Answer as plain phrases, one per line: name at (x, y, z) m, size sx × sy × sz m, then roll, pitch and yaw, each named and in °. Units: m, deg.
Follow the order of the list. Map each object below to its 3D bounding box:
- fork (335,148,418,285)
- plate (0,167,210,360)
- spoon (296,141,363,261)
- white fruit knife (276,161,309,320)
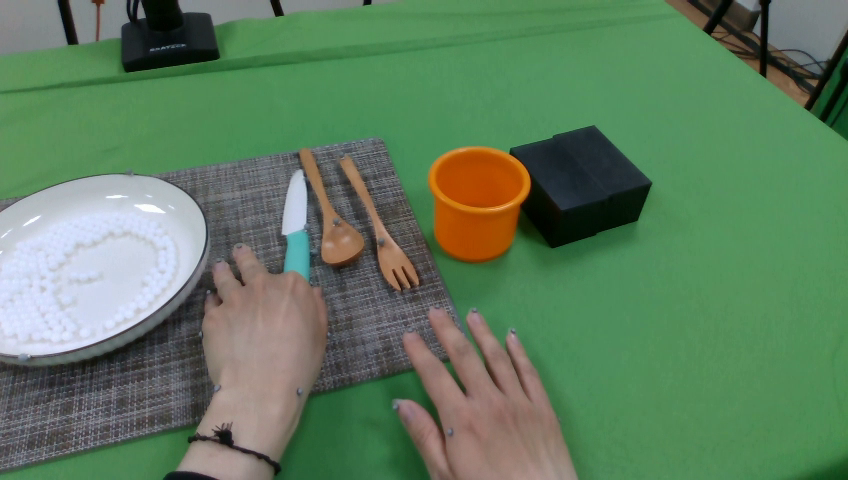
fork at (-0.053, -0.030, 0.587) m, size 0.028 × 0.019 × 0.205 m, roll -20°, pitch 52°, yaw -11°
plate at (-0.289, 0.017, 0.522) m, size 0.209 × 0.038 × 0.207 m, roll 1°, pitch 47°, yaw -1°
spoon at (-0.101, -0.046, 0.598) m, size 0.041 × 0.022 × 0.191 m, roll -26°, pitch 51°, yaw -2°
white fruit knife at (-0.122, -0.010, 0.568) m, size 0.027 × 0.016 × 0.205 m, roll 2°, pitch 46°, yaw -14°
